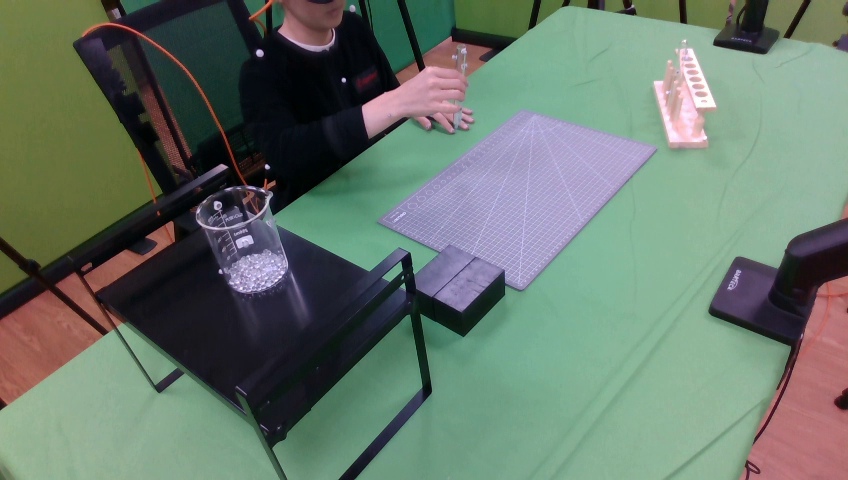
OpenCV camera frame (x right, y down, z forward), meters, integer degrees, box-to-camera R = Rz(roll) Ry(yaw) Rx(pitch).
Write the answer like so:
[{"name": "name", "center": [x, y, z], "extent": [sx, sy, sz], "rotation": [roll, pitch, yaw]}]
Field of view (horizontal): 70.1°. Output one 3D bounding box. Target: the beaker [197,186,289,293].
[{"name": "beaker", "center": [-0.192, 0.001, 0.666], "extent": [0.084, 0.101, 0.073], "rotation": [-32, 47, -27]}]

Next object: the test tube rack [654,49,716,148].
[{"name": "test tube rack", "center": [0.502, -0.281, 1.176], "extent": [0.066, 0.085, 0.241], "rotation": [1, 41, 11]}]

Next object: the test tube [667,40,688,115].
[{"name": "test tube", "center": [0.477, -0.303, 1.138], "extent": [0.017, 0.151, 0.017], "rotation": [-5, 42, 5]}]

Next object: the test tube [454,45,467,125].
[{"name": "test tube", "center": [0.063, -0.262, 1.037], "extent": [0.017, 0.151, 0.017], "rotation": [0, 45, 0]}]
